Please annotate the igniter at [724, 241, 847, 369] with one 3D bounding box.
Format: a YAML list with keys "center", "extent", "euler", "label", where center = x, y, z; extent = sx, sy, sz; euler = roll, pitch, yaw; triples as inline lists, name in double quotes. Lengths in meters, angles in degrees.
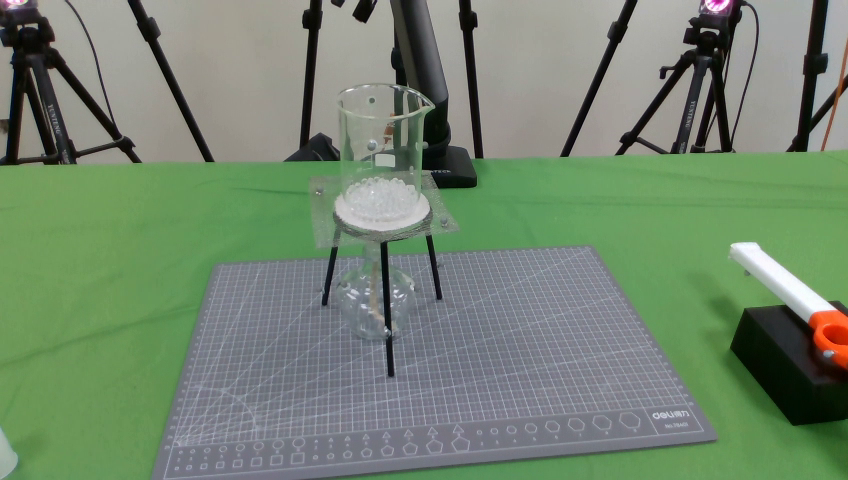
- center: [0.359, 0.075, 0.538]
  extent: [0.057, 0.025, 0.273]
  euler: [-3, 30, -8]
  label: "igniter"

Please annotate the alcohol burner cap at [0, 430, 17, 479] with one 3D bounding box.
- center: [-0.328, 0.154, 0.448]
  extent: [0.034, 0.048, 0.033]
  euler: [3, 31, -1]
  label: "alcohol burner cap"

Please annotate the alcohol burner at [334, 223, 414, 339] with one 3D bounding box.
- center: [-0.047, 0.035, 0.579]
  extent: [0.078, 0.120, 0.077]
  euler: [3, 32, -2]
  label: "alcohol burner"

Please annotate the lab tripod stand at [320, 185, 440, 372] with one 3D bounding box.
- center: [-0.038, 0.028, 0.572]
  extent: [0.148, 0.132, 0.147]
  euler: [3, 34, -2]
  label: "lab tripod stand"

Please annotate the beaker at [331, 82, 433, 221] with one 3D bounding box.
- center: [-0.035, -0.074, 0.519]
  extent: [0.084, 0.101, 0.073]
  euler: [-4, 36, -10]
  label: "beaker"

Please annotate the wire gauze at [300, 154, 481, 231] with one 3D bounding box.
- center: [-0.031, -0.043, 0.532]
  extent: [0.125, 0.011, 0.120]
  euler: [-13, 34, -30]
  label: "wire gauze"
